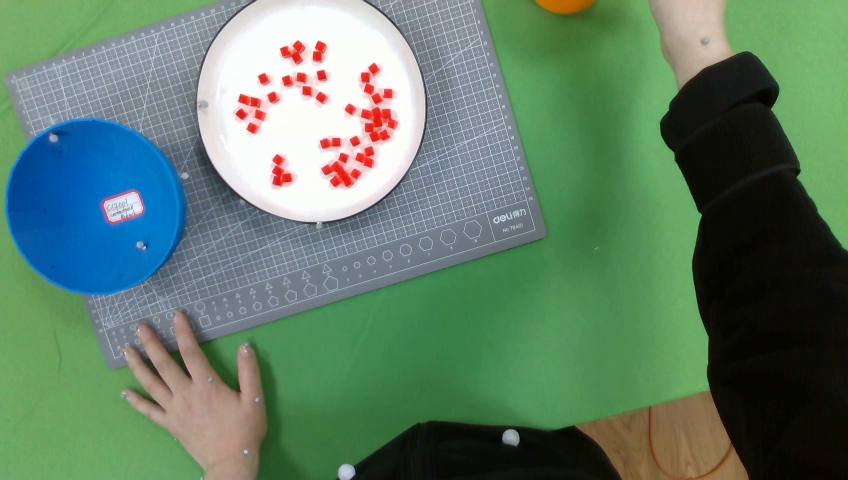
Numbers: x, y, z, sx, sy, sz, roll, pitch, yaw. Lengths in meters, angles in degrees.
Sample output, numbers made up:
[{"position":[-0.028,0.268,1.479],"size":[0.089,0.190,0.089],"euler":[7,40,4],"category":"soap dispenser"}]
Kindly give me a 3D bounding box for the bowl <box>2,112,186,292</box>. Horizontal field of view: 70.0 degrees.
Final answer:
[{"position":[-0.279,-0.033,0.546],"size":[0.151,0.076,0.151],"euler":[0,96,1],"category":"bowl"}]

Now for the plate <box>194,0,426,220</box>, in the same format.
[{"position":[-0.101,-0.123,0.554],"size":[0.209,0.038,0.209],"euler":[0,96,1],"category":"plate"}]
